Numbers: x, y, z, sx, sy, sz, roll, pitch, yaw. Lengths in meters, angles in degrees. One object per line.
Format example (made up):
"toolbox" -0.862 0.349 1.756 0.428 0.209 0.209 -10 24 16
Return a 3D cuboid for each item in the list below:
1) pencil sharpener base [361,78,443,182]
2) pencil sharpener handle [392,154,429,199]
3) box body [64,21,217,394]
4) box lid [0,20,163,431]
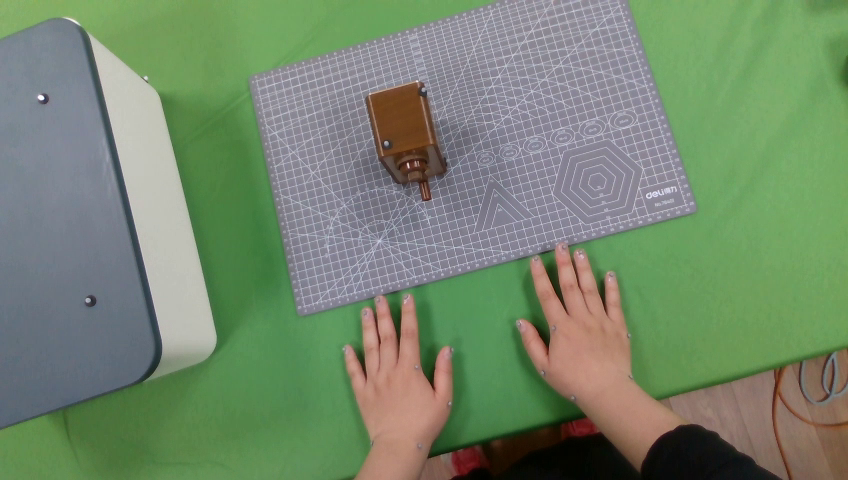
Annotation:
"pencil sharpener base" -0.020 -0.109 0.641 0.061 0.107 0.076 -15 80 5
"pencil sharpener handle" -0.008 -0.063 0.620 0.036 0.068 0.030 -16 80 11
"box body" -0.400 -0.004 0.650 0.254 0.161 0.362 -19 79 4
"box lid" -0.406 -0.012 0.571 0.263 0.015 0.370 -19 81 3
